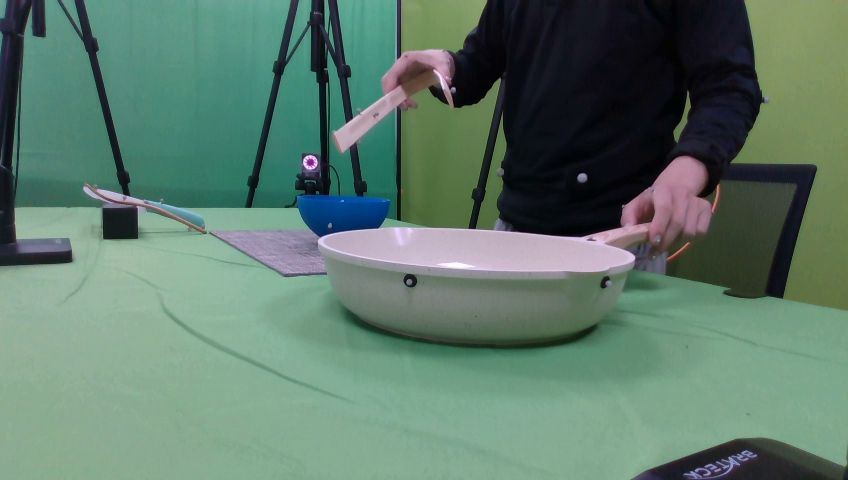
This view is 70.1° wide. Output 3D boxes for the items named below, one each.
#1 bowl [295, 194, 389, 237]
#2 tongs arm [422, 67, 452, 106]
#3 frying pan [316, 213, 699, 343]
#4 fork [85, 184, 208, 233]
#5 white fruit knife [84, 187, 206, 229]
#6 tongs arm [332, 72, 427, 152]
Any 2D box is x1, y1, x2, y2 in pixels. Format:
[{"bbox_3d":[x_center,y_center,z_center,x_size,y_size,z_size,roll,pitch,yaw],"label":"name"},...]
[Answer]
[{"bbox_3d":[-0.132,-0.032,0.980,0.151,0.077,0.151,2,7,0],"label":"bowl"},{"bbox_3d":[0.019,-0.221,0.857,0.028,0.028,0.387,-28,17,8],"label":"tongs arm"},{"bbox_3d":[0.133,0.013,0.629,0.490,0.102,0.305,-12,14,-30],"label":"frying pan"},{"bbox_3d":[-0.462,-0.050,1.020,0.208,0.018,0.028,22,-8,-37],"label":"fork"},{"bbox_3d":[-0.488,-0.059,1.071,0.208,0.027,0.016,17,4,-33],"label":"white fruit knife"},{"bbox_3d":[-0.052,-0.195,0.874,0.050,0.026,0.385,-21,18,18],"label":"tongs arm"}]
